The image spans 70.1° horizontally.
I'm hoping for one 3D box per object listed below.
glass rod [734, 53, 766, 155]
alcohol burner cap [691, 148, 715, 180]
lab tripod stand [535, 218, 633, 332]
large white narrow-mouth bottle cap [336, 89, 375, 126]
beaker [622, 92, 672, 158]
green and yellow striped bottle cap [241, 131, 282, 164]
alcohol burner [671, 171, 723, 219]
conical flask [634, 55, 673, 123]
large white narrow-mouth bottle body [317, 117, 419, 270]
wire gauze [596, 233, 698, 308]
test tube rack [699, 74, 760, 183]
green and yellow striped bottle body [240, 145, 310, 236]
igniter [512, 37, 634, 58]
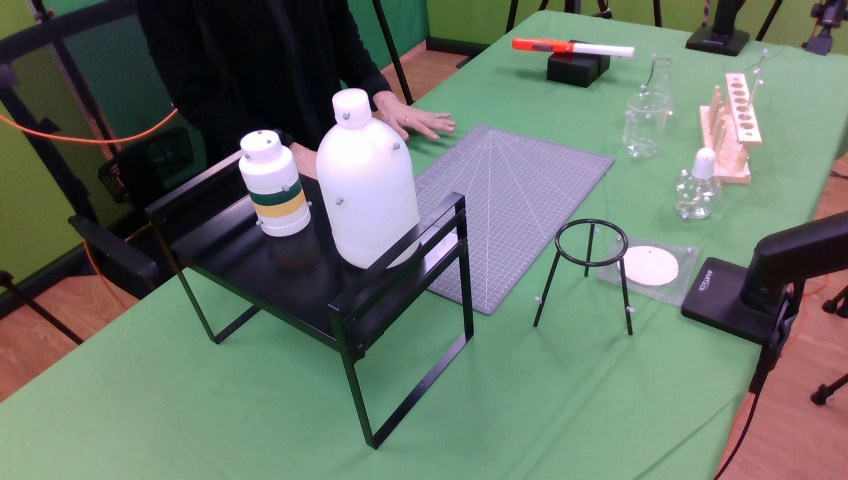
[{"bbox_3d":[0.540,-0.219,1.006,0.008,0.201,0.008,-5,45,6],"label":"glass rod"},{"bbox_3d":[0.432,-0.120,0.930,0.034,0.048,0.033,-7,48,8],"label":"alcohol burner cap"},{"bbox_3d":[0.215,0.050,0.803,0.148,0.132,0.147,-4,43,4],"label":"lab tripod stand"},{"bbox_3d":[-0.068,-0.131,0.595,0.038,0.024,0.037,-3,41,3],"label":"large white narrow-mouth bottle cap"},{"bbox_3d":[0.402,-0.210,1.106,0.074,0.101,0.083,-8,40,-2],"label":"beaker"},{"bbox_3d":[-0.187,-0.107,0.695,0.045,0.020,0.045,-3,39,3],"label":"green and yellow striped bottle cap"},{"bbox_3d":[0.434,-0.093,0.955,0.078,0.119,0.077,-3,43,4],"label":"alcohol burner"},{"bbox_3d":[0.456,-0.297,1.182,0.075,0.122,0.075,-4,41,4],"label":"conical flask"},{"bbox_3d":[-0.062,-0.065,0.653,0.102,0.195,0.101,-3,41,3],"label":"large white narrow-mouth bottle body"},{"bbox_3d":[0.331,0.038,0.897,0.124,0.011,0.121,18,47,26],"label":"wire gauze"},{"bbox_3d":[0.547,-0.208,1.095,0.066,0.085,0.242,6,42,16],"label":"test tube rack"},{"bbox_3d":[-0.181,-0.068,0.729,0.063,0.120,0.063,-4,40,4],"label":"green and yellow striped bottle body"},{"bbox_3d":[0.328,-0.433,1.360,0.275,0.025,0.057,12,33,20],"label":"igniter"}]
